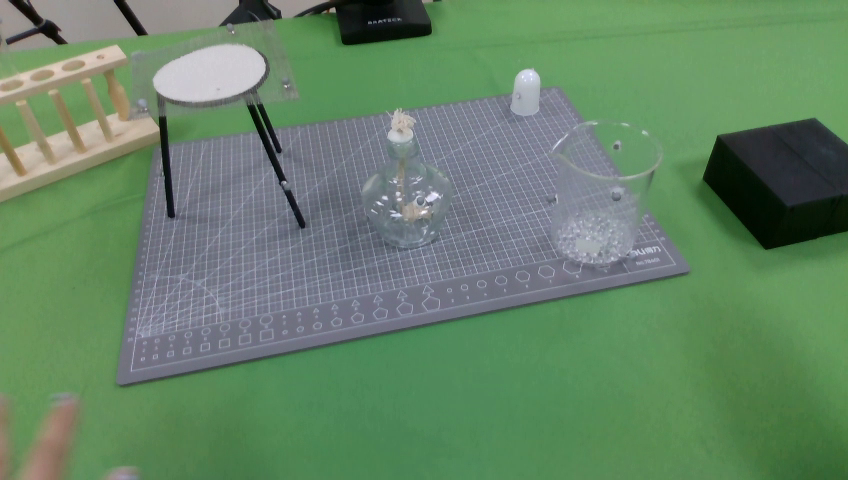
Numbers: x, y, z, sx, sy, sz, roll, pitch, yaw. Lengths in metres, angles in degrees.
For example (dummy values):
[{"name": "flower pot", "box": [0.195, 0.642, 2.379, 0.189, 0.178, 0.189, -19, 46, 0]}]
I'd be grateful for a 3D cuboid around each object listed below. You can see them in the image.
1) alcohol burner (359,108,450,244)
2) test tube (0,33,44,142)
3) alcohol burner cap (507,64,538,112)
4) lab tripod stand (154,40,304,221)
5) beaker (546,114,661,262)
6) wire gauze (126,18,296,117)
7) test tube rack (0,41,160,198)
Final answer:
[{"name": "alcohol burner", "box": [-0.017, -0.055, 0.500, 0.078, 0.120, 0.077, -2, 44, 2]}, {"name": "test tube", "box": [-0.395, -0.160, 0.573, 0.017, 0.151, 0.017, 1, 39, 0]}, {"name": "alcohol burner cap", "box": [0.107, -0.166, 0.654, 0.034, 0.048, 0.033, -1, 45, 1]}, {"name": "lab tripod stand", "box": [-0.170, -0.091, 0.528, 0.148, 0.133, 0.147, -1, 48, 2]}, {"name": "beaker", "box": [0.137, -0.038, 0.487, 0.084, 0.101, 0.073, 4, 46, 8]}, {"name": "wire gauze", "box": [-0.173, -0.138, 0.479, 0.125, 0.011, 0.120, -15, 47, -11]}, {"name": "test tube rack", "box": [-0.398, -0.106, 0.591, 0.242, 0.086, 0.066, -28, 51, -23]}]
